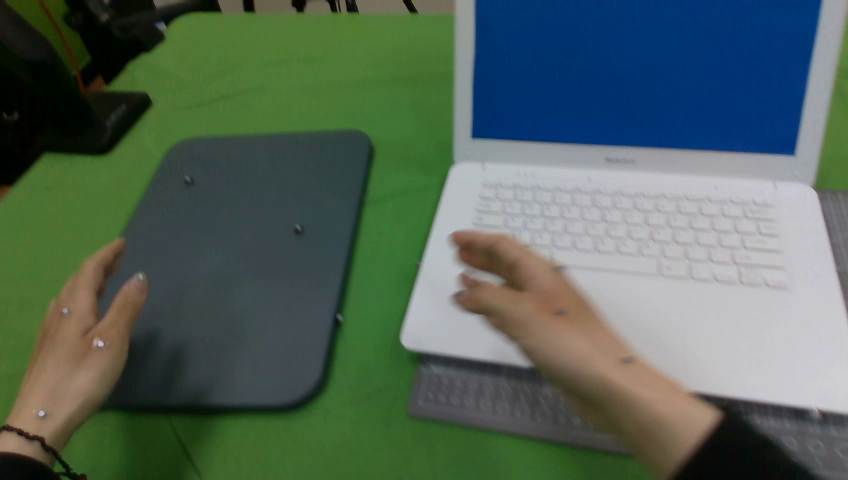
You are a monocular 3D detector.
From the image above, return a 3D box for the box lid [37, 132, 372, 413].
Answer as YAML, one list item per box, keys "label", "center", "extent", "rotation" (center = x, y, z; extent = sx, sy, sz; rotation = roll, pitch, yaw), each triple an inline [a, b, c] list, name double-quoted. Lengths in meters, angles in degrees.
- label: "box lid"
  center: [-0.204, 0.009, 0.633]
  extent: [0.263, 0.015, 0.368]
  rotation: [-2, 46, 8]

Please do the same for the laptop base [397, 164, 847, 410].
- label: "laptop base"
  center: [0.171, 0.025, 0.547]
  extent: [0.353, 0.023, 0.233]
  rotation: [5, 51, 14]

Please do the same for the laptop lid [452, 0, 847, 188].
- label: "laptop lid"
  center: [0.200, -0.171, 0.585]
  extent: [0.355, 0.243, 0.013]
  rotation: [4, 18, 15]
